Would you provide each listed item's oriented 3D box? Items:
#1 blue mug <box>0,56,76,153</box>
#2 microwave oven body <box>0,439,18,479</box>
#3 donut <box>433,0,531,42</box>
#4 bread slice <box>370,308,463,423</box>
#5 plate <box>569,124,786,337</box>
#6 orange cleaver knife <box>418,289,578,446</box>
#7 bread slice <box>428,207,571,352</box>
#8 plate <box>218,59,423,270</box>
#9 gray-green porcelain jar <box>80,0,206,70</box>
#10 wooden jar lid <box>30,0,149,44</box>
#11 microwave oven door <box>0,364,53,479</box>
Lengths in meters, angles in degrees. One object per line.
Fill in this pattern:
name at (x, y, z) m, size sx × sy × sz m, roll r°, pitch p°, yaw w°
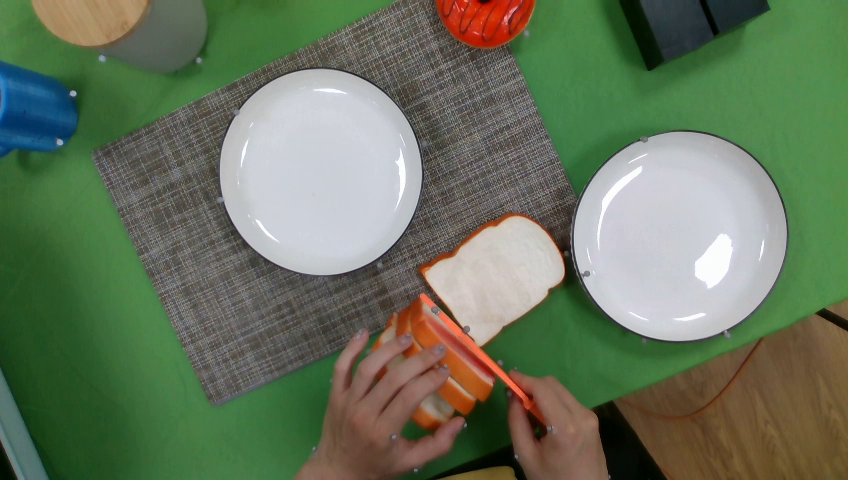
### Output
blue mug at (-0.427, -0.125, 0.602) m, size 0.082 × 0.106 × 0.116 m, roll 40°, pitch 96°, yaw 0°
microwave oven body at (-0.611, 0.217, 0.559) m, size 0.326 × 0.260 × 0.442 m, roll -21°, pitch 94°, yaw 4°
donut at (0.057, -0.243, 0.592) m, size 0.099 × 0.048 × 0.099 m, roll 0°, pitch 95°, yaw 3°
bread slice at (-0.009, 0.122, 0.586) m, size 0.105 × 0.131 × 0.019 m, roll 45°, pitch 102°, yaw 0°
plate at (0.248, -0.009, 0.607) m, size 0.209 × 0.038 × 0.209 m, roll 0°, pitch 95°, yaw 4°
orange cleaver knife at (0.070, 0.121, 0.569) m, size 0.012 × 0.076 × 0.213 m, roll -46°, pitch 111°, yaw -3°
bread slice at (0.084, 0.029, 0.579) m, size 0.134 × 0.018 × 0.107 m, roll -34°, pitch 88°, yaw -32°
plate at (-0.103, -0.074, 0.618) m, size 0.207 × 0.039 × 0.208 m, roll 0°, pitch 95°, yaw 3°
gray-green porcelain jar at (-0.277, -0.224, 0.576) m, size 0.106 × 0.126 × 0.106 m, roll 0°, pitch 94°, yaw 3°
wooden jar lid at (-0.281, -0.220, 0.514) m, size 0.108 × 0.020 × 0.108 m, roll 0°, pitch 93°, yaw 5°
microwave oven door at (-0.459, 0.204, 0.544) m, size 0.039 × 0.243 × 0.356 m, roll -22°, pitch 93°, yaw 5°
